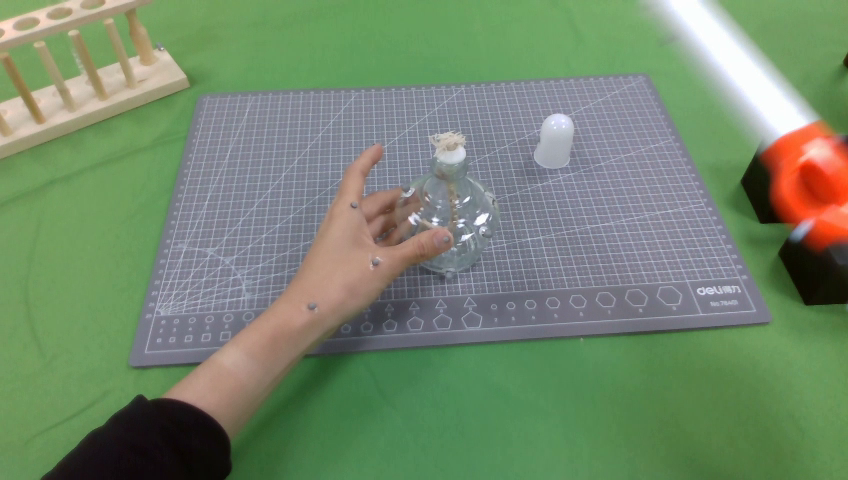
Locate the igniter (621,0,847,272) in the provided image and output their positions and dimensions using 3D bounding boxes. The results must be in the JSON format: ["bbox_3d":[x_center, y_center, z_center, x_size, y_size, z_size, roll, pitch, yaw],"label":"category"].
[{"bbox_3d":[0.197,-0.043,0.325,0.057,0.025,0.274,-22,65,-16],"label":"igniter"}]

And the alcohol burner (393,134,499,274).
[{"bbox_3d":[0.016,-0.030,0.432,0.078,0.120,0.077,1,51,-1],"label":"alcohol burner"}]

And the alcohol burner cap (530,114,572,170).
[{"bbox_3d":[0.112,-0.088,0.525,0.034,0.048,0.033,1,50,-1],"label":"alcohol burner cap"}]

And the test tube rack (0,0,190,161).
[{"bbox_3d":[-0.352,-0.144,0.549,0.242,0.086,0.066,-29,56,-22],"label":"test tube rack"}]

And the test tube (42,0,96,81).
[{"bbox_3d":[-0.329,-0.211,0.536,0.017,0.151,0.017,-3,42,3],"label":"test tube"}]
